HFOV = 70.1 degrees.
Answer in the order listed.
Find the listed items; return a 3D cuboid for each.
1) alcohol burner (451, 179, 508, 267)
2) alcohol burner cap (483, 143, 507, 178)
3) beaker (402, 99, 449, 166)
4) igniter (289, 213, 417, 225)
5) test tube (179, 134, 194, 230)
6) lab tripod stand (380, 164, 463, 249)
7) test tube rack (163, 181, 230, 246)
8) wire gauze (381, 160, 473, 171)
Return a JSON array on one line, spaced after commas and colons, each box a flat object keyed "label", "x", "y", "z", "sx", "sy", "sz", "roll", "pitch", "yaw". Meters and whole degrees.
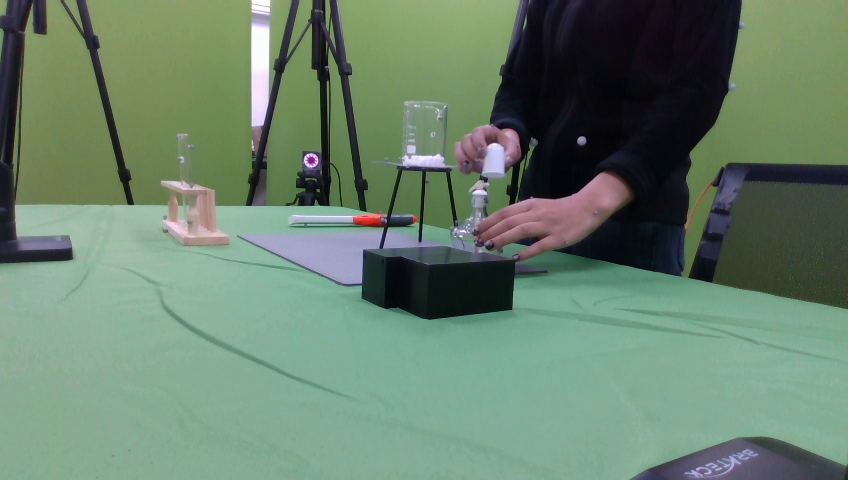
[{"label": "alcohol burner", "x": 0.075, "y": -0.023, "z": 0.821, "sx": 0.078, "sy": 0.119, "sz": 0.078, "roll": 0, "pitch": 9, "yaw": 0}, {"label": "alcohol burner cap", "x": 0.098, "y": -0.109, "z": 0.833, "sx": 0.034, "sy": 0.048, "sz": 0.034, "roll": 1, "pitch": 1, "yaw": 0}, {"label": "beaker", "x": 0.003, "y": -0.168, "z": 0.957, "sx": 0.073, "sy": 0.100, "sz": 0.084, "roll": 8, "pitch": 11, "yaw": 35}, {"label": "igniter", "x": -0.144, "y": -0.044, "z": 1.275, "sx": 0.278, "sy": 0.025, "sz": 0.057, "roll": -1, "pitch": -1, "yaw": -27}, {"label": "test tube", "x": -0.366, "y": -0.089, "z": 0.938, "sx": 0.017, "sy": 0.150, "sz": 0.017, "roll": -1, "pitch": 9, "yaw": 1}, {"label": "lab tripod stand", "x": -0.003, "y": -0.055, "z": 0.967, "sx": 0.148, "sy": 0.131, "sz": 0.148, "roll": 2, "pitch": 9, "yaw": 0}, {"label": "test tube rack", "x": -0.387, "y": -0.050, "z": 1.015, "sx": 0.067, "sy": 0.085, "sz": 0.241, "roll": -2, "pitch": 9, "yaw": -30}, {"label": "wire gauze", "x": -0.004, "y": -0.120, "z": 0.959, "sx": 0.122, "sy": 0.011, "sz": 0.124, "roll": -5, "pitch": 13, "yaw": -33}]
